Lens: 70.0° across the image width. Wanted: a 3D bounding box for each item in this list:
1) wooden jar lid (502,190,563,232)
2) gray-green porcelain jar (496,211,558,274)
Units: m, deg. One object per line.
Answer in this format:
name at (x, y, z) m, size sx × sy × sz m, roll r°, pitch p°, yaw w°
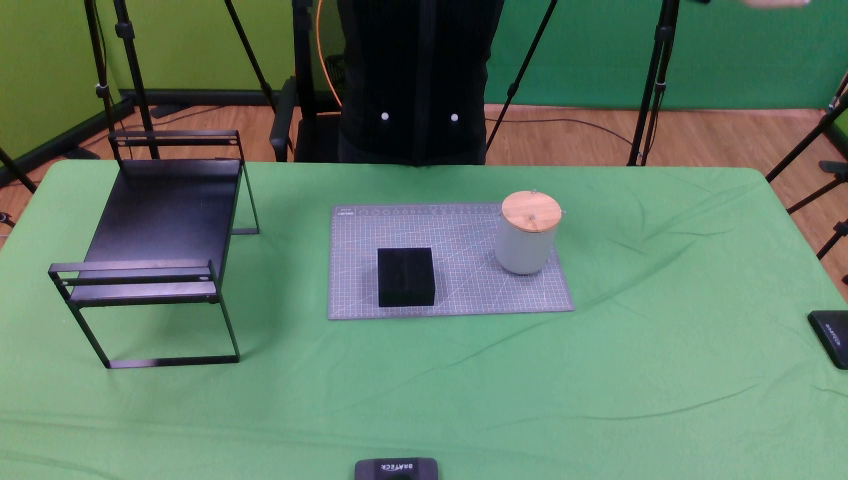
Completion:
wooden jar lid at (0.195, -0.050, 1.095) m, size 0.108 × 0.021 × 0.107 m, roll 1°, pitch 44°, yaw -1°
gray-green porcelain jar at (0.191, -0.007, 1.140) m, size 0.106 × 0.127 × 0.105 m, roll 2°, pitch 46°, yaw -2°
